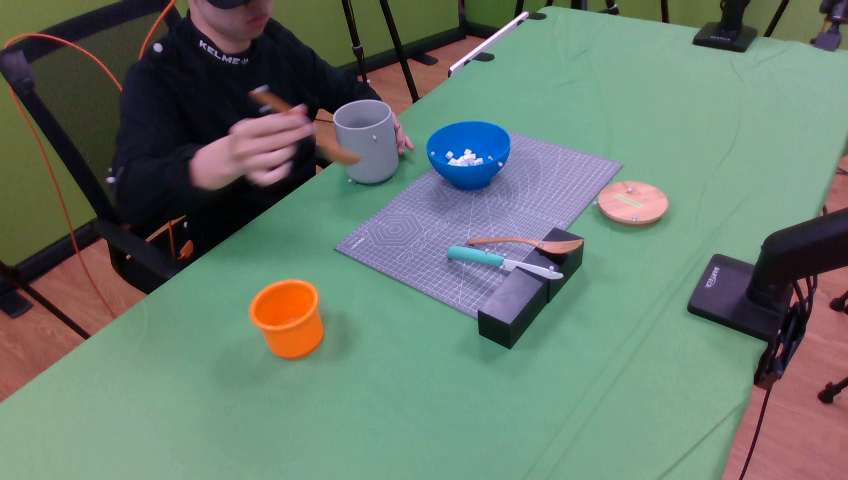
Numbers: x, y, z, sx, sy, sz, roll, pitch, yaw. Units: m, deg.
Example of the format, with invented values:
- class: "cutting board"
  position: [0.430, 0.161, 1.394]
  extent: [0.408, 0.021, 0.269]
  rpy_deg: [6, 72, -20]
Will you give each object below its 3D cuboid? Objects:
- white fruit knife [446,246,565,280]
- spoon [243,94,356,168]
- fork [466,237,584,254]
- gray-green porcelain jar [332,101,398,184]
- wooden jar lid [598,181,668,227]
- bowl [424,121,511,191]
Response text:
- class: "white fruit knife"
  position: [0.111, 0.033, 0.868]
  extent: [0.205, 0.027, 0.016]
  rpy_deg: [11, 44, 40]
- class: "spoon"
  position: [-0.157, -0.137, 0.782]
  extent: [0.041, 0.195, 0.021]
  rpy_deg: [-1, 67, 36]
- class: "fork"
  position: [0.142, 0.005, 0.894]
  extent: [0.205, 0.019, 0.028]
  rpy_deg: [4, 43, 41]
- class: "gray-green porcelain jar"
  position: [-0.104, -0.174, 1.109]
  extent: [0.106, 0.127, 0.105]
  rpy_deg: [-4, 40, 4]
- class: "wooden jar lid"
  position: [0.340, -0.058, 0.988]
  extent: [0.108, 0.021, 0.108]
  rpy_deg: [-5, 41, 5]
- class: "bowl"
  position: [0.080, -0.141, 1.074]
  extent: [0.151, 0.077, 0.150]
  rpy_deg: [-4, 40, 4]
